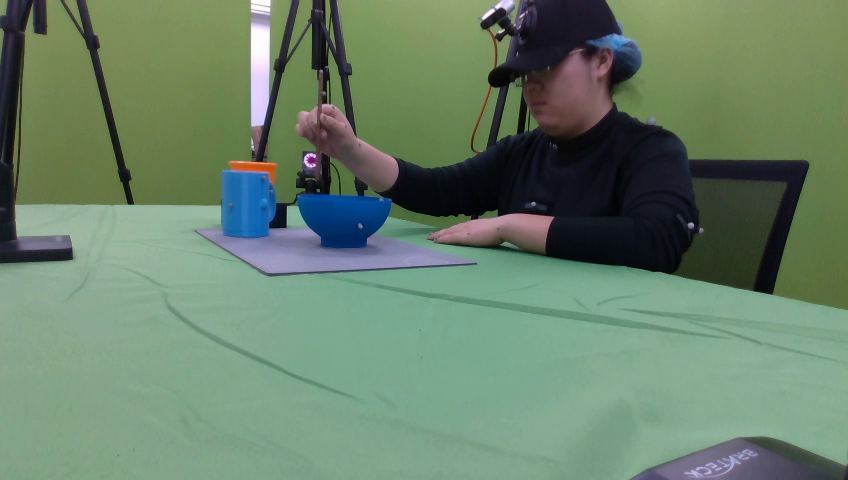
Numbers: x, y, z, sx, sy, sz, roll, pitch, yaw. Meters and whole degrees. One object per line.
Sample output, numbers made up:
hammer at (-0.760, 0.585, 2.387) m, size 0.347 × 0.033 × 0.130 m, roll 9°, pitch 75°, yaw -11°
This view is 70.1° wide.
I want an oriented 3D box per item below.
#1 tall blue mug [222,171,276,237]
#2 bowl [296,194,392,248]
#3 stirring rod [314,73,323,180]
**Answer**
tall blue mug at (-0.303, -0.064, 1.043) m, size 0.078 × 0.108 × 0.107 m, roll 1°, pitch 7°, yaw -4°
bowl at (-0.127, -0.030, 0.963) m, size 0.151 × 0.077 × 0.151 m, roll 2°, pitch 7°, yaw 0°
stirring rod at (-0.175, -0.188, 1.001) m, size 0.006 × 0.176 × 0.014 m, roll 3°, pitch 0°, yaw -2°
